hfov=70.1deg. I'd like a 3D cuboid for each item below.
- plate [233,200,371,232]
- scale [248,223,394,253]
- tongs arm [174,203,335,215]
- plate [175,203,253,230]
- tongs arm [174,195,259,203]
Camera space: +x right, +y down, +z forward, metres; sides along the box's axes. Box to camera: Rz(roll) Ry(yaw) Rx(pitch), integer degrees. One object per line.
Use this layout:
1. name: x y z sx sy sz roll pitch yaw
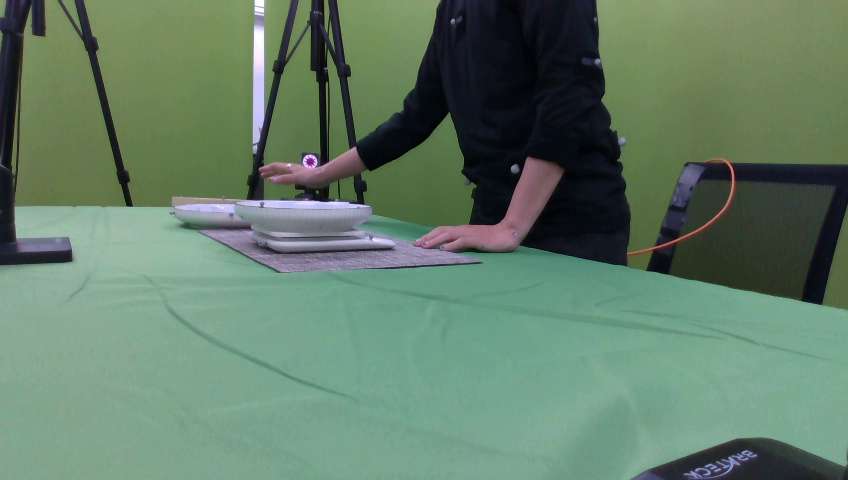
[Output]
1. plate: -0.188 -0.039 0.939 0.209 0.038 0.209 2 7 0
2. scale: -0.162 -0.006 0.954 0.202 0.031 0.148 -2 8 -32
3. tongs arm: -0.384 -0.073 1.428 0.390 0.028 0.028 -1 5 -33
4. plate: -0.381 -0.047 1.199 0.208 0.039 0.207 3 7 0
5. tongs arm: -0.418 -0.088 1.508 0.386 0.026 0.050 2 7 -18
